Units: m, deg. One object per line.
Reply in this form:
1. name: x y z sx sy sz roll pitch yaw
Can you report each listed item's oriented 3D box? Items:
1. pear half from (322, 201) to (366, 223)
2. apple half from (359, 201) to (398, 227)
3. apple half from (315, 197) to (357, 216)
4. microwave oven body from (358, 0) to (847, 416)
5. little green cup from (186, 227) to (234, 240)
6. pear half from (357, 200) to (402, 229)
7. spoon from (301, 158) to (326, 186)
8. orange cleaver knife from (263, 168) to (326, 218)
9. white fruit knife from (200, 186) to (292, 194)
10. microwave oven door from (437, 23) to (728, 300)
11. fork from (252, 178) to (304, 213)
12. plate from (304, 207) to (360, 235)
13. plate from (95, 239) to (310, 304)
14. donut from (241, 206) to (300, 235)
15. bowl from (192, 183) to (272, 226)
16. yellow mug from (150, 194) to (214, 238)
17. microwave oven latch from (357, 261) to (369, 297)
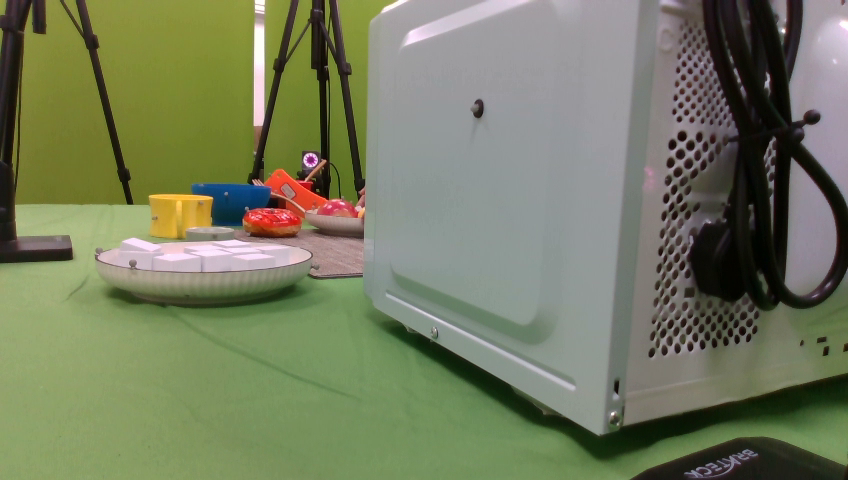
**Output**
1. pear half: -0.157 -0.059 1.197 0.088 0.031 0.070 11 30 -3
2. apple half: -0.088 -0.058 1.190 0.081 0.033 0.081 9 30 -5
3. apple half: -0.162 -0.053 1.121 0.081 0.053 0.074 4 8 -14
4. microwave oven body: 0.211 -0.047 0.474 0.444 0.260 0.324 -1 7 -28
5. little green cup: -0.285 0.005 0.805 0.061 0.038 0.061 2 8 0
6. pear half: -0.075 -0.047 1.132 0.076 0.056 0.110 12 6 31
7. spoon: -0.320 -0.160 1.646 0.041 0.022 0.194 7 53 35
8. orange cleaver knife: -0.262 -0.088 1.353 0.211 0.077 0.012 28 13 -1
9. white fruit knife: -0.399 -0.111 1.368 0.208 0.016 0.027 -4 -19 -30
10. microwave oven door: 0.180 -0.072 0.621 0.358 0.243 0.039 -2 8 -29
11. fork: -0.295 -0.084 1.292 0.206 0.018 0.028 29 10 25
12. plate: -0.123 -0.036 1.149 0.209 0.038 0.209 3 7 0
13. plate: -0.224 0.031 0.629 0.208 0.039 0.207 2 8 0
14. donut: -0.263 -0.032 1.039 0.099 0.048 0.099 4 9 0
15. bowl: -0.381 -0.071 1.202 0.151 0.077 0.151 3 7 0
16. yellow mug: -0.401 -0.040 1.003 0.100 0.064 0.130 -1 9 -20
17. microwave oven latch: -0.019 0.033 0.530 0.079 0.029 0.030 -1 7 -26
